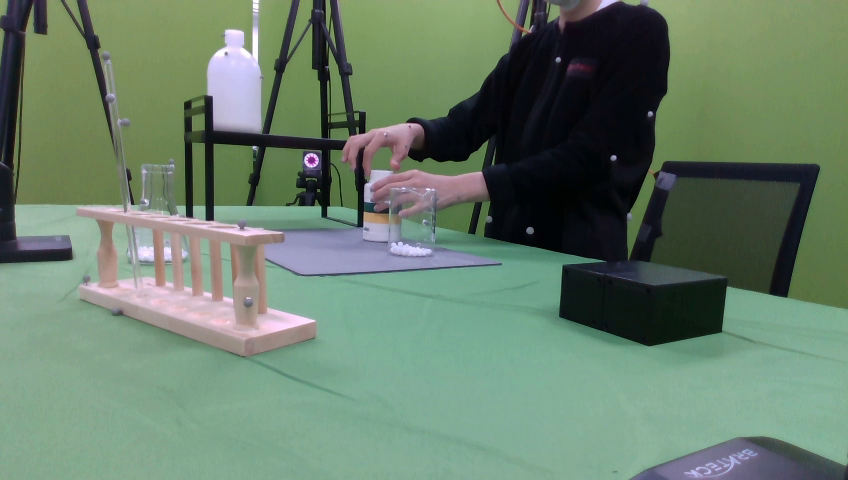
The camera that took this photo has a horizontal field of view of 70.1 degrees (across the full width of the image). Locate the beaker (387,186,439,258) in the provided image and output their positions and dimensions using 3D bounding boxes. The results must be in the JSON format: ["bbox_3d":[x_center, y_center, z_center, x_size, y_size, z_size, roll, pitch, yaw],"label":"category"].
[{"bbox_3d":[-0.015,-0.027,0.885,0.074,0.100,0.083,-1,8,-20],"label":"beaker"}]

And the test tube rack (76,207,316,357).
[{"bbox_3d":[-0.196,0.023,0.500,0.241,0.085,0.067,8,9,36],"label":"test tube rack"}]

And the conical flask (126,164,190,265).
[{"bbox_3d":[-0.332,-0.033,0.756,0.075,0.122,0.075,2,7,0],"label":"conical flask"}]

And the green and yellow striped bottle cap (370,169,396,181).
[{"bbox_3d":[-0.069,-0.110,1.028,0.045,0.020,0.045,2,3,0],"label":"green and yellow striped bottle cap"}]

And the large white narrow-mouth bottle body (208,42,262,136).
[{"bbox_3d":[-0.368,-0.304,1.181,0.102,0.194,0.101,2,9,0],"label":"large white narrow-mouth bottle body"}]

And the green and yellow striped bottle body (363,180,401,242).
[{"bbox_3d":[-0.072,-0.059,1.036,0.063,0.119,0.063,2,7,0],"label":"green and yellow striped bottle body"}]

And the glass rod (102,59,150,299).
[{"bbox_3d":[-0.243,-0.045,0.496,0.008,0.199,0.008,-4,12,1],"label":"glass rod"}]

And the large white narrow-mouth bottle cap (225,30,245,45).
[{"bbox_3d":[-0.365,-0.390,1.166,0.038,0.024,0.037,3,9,0],"label":"large white narrow-mouth bottle cap"}]
